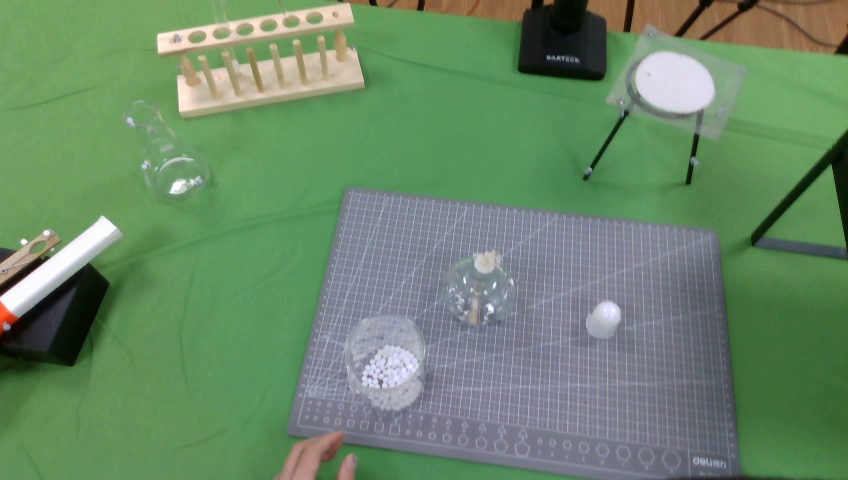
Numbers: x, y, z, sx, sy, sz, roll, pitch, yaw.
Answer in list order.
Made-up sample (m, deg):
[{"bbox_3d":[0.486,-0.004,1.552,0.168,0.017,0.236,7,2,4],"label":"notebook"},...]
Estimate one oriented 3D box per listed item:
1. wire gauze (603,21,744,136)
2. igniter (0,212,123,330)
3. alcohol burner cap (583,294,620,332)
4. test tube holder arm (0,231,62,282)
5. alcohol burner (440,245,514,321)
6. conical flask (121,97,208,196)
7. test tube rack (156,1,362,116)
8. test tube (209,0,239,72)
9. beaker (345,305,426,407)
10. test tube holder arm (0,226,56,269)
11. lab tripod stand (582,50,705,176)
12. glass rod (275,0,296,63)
[{"bbox_3d":[0.273,-0.176,0.657,0.121,0.011,0.124,27,66,11],"label":"wire gauze"},{"bbox_3d":[-0.426,0.071,0.604,0.057,0.025,0.276,33,65,26],"label":"igniter"},{"bbox_3d":[0.192,0.075,0.648,0.034,0.048,0.033,0,62,0],"label":"alcohol burner cap"},{"bbox_3d":[-0.421,0.022,0.633,0.087,0.015,0.010,-42,100,-20],"label":"test tube holder arm"},{"bbox_3d":[0.056,0.038,0.627,0.078,0.120,0.077,1,61,-2],"label":"alcohol burner"},{"bbox_3d":[-0.305,-0.111,0.701,0.075,0.123,0.074,0,62,0],"label":"conical flask"},{"bbox_3d":[-0.209,-0.236,0.788,0.243,0.086,0.066,-12,63,-7],"label":"test tube rack"},{"bbox_3d":[-0.250,-0.266,0.748,0.017,0.151,0.017,2,59,-4],"label":"test tube"},{"bbox_3d":[-0.037,0.120,0.591,0.073,0.101,0.084,35,67,18],"label":"beaker"},{"bbox_3d":[-0.455,0.046,0.616,0.178,0.015,0.013,-43,100,-20],"label":"test tube holder arm"},{"bbox_3d":[0.266,-0.144,0.716,0.148,0.132,0.147,1,61,-2],"label":"lab tripod stand"},{"bbox_3d":[-0.181,-0.296,0.745,0.008,0.201,0.008,-3,55,4],"label":"glass rod"}]
